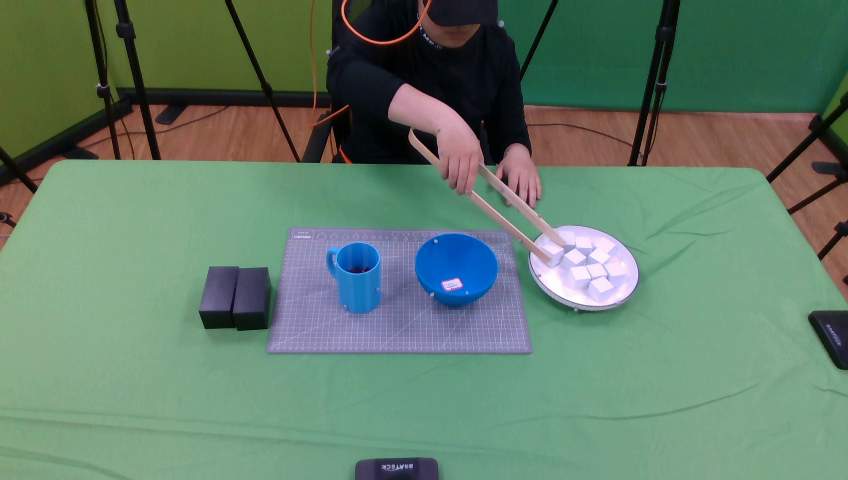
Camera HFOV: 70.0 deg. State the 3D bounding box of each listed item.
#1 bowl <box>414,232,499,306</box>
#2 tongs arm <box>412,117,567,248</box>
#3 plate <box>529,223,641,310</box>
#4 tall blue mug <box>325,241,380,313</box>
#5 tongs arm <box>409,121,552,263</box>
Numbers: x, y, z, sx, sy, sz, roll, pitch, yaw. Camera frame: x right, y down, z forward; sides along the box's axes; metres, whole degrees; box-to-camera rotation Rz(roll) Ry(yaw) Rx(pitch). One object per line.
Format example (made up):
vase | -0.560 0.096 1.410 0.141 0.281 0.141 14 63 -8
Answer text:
bowl | 0.056 0.066 1.095 0.151 0.077 0.150 2 46 -2
tongs arm | 0.124 -0.113 1.192 0.384 0.026 0.051 45 61 11
plate | 0.303 0.053 1.156 0.209 0.038 0.208 2 46 -2
tall blue mug | -0.130 0.063 1.062 0.107 0.108 0.077 9 47 5
tongs arm | 0.102 -0.094 1.175 0.386 0.028 0.028 44 64 11
